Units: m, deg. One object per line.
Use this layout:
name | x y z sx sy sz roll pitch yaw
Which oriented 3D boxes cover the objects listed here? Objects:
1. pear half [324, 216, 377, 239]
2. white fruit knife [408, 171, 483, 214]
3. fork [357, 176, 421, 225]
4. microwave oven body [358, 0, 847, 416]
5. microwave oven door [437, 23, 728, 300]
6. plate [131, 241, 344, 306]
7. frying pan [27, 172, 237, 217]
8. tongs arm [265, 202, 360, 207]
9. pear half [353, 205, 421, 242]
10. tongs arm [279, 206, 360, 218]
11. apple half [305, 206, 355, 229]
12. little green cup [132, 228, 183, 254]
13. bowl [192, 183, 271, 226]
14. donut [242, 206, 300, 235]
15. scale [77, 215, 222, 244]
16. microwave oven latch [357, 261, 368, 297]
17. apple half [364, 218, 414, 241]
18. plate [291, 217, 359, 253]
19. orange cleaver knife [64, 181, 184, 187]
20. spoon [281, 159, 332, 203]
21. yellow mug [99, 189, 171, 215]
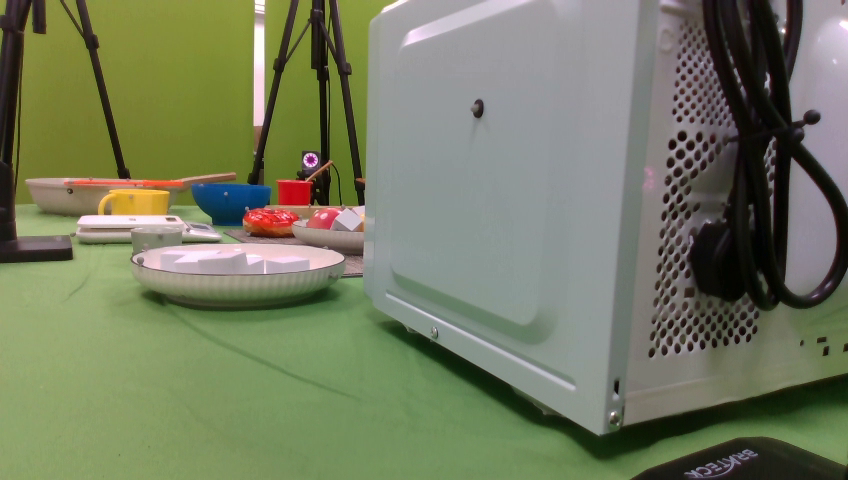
pear half | -0.119 -0.023 0.996 0.088 0.031 0.070 -4 23 -28
white fruit knife | 0.037 -0.076 0.939 0.016 0.027 0.208 -1 -11 34
fork | -0.057 -0.070 1.099 0.028 0.018 0.208 4 -23 32
microwave oven body | 0.211 -0.047 0.474 0.444 0.260 0.324 -1 7 -28
microwave oven door | 0.180 -0.072 0.621 0.358 0.243 0.039 -2 8 -29
plate | -0.187 0.033 0.625 0.208 0.039 0.207 2 7 0
frying pan | -0.624 -0.118 1.387 0.305 0.102 0.490 8 17 32
tongs arm | -0.219 -0.076 1.470 0.389 0.027 0.028 0 1 -26
pear half | -0.051 -0.024 0.905 0.110 0.056 0.076 1 -1 -38
tongs arm | -0.171 -0.067 1.402 0.387 0.026 0.050 -2 6 -40
apple half | -0.138 -0.025 0.917 0.081 0.053 0.074 0 10 -43
little green cup | -0.342 0.006 0.779 0.061 0.038 0.061 2 8 0
bowl | -0.382 -0.071 1.202 0.151 0.077 0.151 3 7 0
donut | -0.263 -0.032 1.039 0.099 0.048 0.099 4 10 0
scale | -0.434 -0.019 0.963 0.202 0.031 0.148 -1 9 -27
microwave oven latch | -0.019 0.033 0.531 0.079 0.029 0.030 -1 7 -28
apple half | -0.054 -0.019 0.968 0.081 0.033 0.081 -3 10 1
plate | -0.103 -0.009 0.945 0.209 0.038 0.209 2 7 0
orange cleaver knife | -0.596 -0.113 1.212 0.212 0.012 0.077 -3 7 -41
spoon | -0.316 -0.159 1.640 0.194 0.022 0.041 -50 32 -20
yellow mug | -0.519 -0.055 1.080 0.099 0.064 0.131 7 9 26
